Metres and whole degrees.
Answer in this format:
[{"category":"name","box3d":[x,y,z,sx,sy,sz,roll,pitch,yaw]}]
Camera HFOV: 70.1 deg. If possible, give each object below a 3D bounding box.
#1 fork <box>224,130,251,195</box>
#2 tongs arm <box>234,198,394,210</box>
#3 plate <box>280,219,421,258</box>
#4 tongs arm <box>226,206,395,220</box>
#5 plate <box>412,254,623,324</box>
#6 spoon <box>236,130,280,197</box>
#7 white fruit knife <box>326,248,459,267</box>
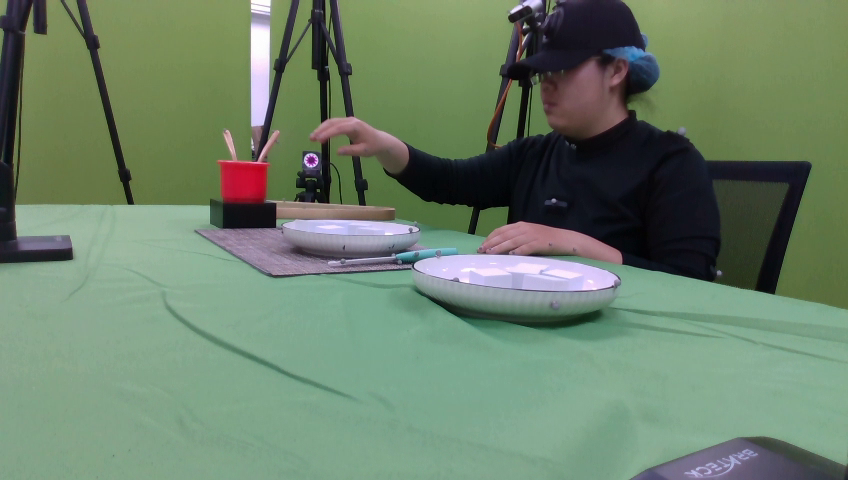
[{"category":"fork","box3d":[-0.372,-0.155,1.193,0.028,0.018,0.206,-17,54,-14]},{"category":"tongs arm","box3d":[-0.263,-0.076,1.460,0.386,0.026,0.050,3,8,-8]},{"category":"plate","box3d":[-0.108,-0.002,0.902,0.208,0.039,0.207,3,7,0]},{"category":"tongs arm","box3d":[-0.247,-0.061,1.382,0.389,0.028,0.028,0,5,-21]},{"category":"plate","box3d":[0.091,0.047,0.609,0.209,0.038,0.209,2,7,0]},{"category":"spoon","box3d":[-0.321,-0.154,1.192,0.041,0.193,0.022,1,-36,19]},{"category":"white fruit knife","box3d":[-0.034,0.025,0.807,0.208,0.016,0.027,-4,-19,-34]}]
